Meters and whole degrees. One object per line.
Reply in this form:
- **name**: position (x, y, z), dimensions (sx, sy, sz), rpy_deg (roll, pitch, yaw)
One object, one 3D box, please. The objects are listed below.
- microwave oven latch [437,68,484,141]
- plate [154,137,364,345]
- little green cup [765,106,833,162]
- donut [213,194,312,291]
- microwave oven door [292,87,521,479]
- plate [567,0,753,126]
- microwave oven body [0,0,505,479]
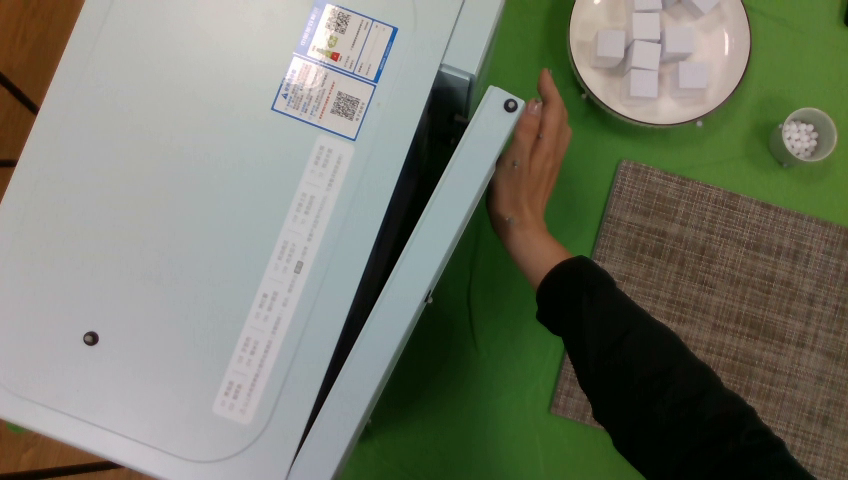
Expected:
- **microwave oven latch**: position (0.040, -0.153, 0.671), dimensions (0.030, 0.029, 0.079), rpy_deg (25, 87, 1)
- **plate**: position (-0.164, 0.001, 0.617), dimensions (0.209, 0.038, 0.208), rpy_deg (0, 86, -1)
- **little green cup**: position (0.424, -0.118, 0.690), dimensions (0.061, 0.038, 0.061), rpy_deg (0, 85, 0)
- **donut**: position (-0.161, 0.003, 0.606), dimensions (0.099, 0.048, 0.099), rpy_deg (0, 96, 1)
- **microwave oven door**: position (-0.020, 0.053, 0.556), dimensions (0.039, 0.244, 0.355), rpy_deg (27, 86, 2)
- **plate**: position (0.266, -0.230, 0.696), dimensions (0.208, 0.039, 0.207), rpy_deg (0, 86, 0)
- **microwave oven body**: position (-0.160, -0.045, 0.567), dimensions (0.326, 0.260, 0.441), rpy_deg (20, 87, 1)
